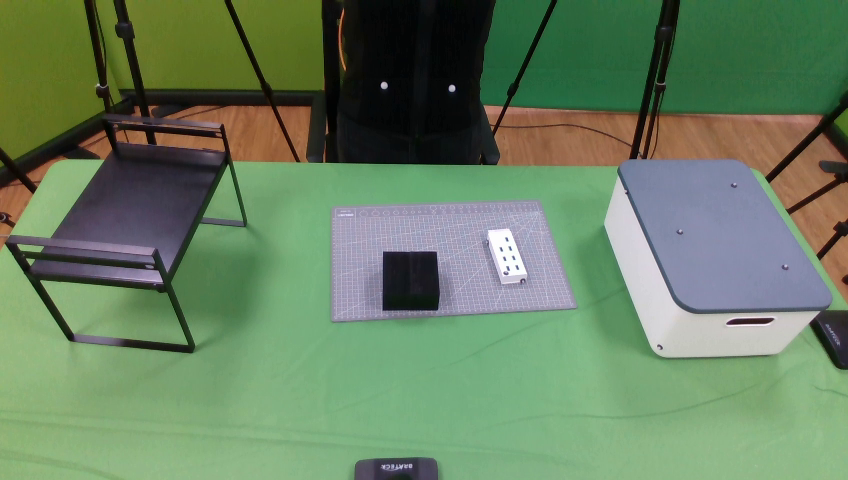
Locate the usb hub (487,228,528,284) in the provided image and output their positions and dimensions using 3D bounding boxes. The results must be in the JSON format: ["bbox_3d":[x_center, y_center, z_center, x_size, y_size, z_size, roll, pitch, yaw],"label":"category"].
[{"bbox_3d":[0.159,0.029,1.173,0.049,0.025,0.124,-6,46,-9],"label":"usb hub"}]

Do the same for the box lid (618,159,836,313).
[{"bbox_3d":[0.508,-0.024,1.056,0.263,0.015,0.369,-1,46,-5],"label":"box lid"}]

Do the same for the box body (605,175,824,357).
[{"bbox_3d":[0.505,0.028,1.108,0.254,0.161,0.361,-1,46,-4],"label":"box body"}]
